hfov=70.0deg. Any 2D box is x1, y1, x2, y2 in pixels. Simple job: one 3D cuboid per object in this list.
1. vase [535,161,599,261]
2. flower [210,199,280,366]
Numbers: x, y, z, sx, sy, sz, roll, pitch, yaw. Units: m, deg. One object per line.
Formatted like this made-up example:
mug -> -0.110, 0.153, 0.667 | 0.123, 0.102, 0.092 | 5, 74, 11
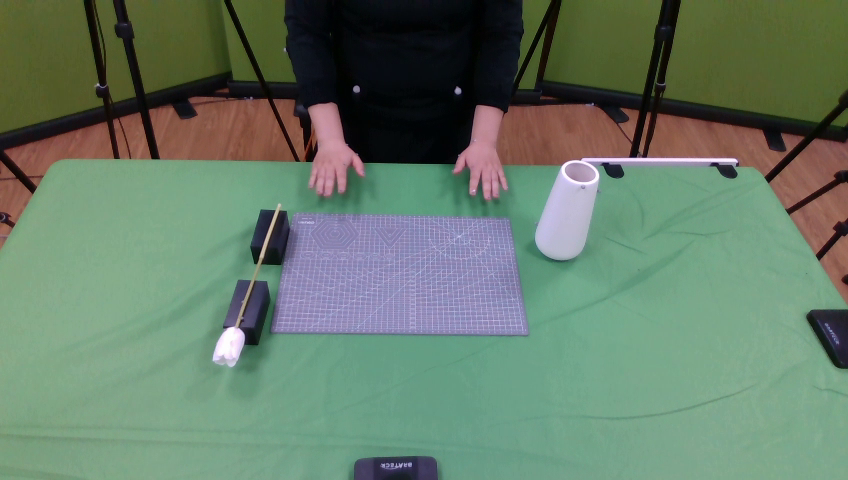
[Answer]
vase -> 0.271, -0.051, 1.145 | 0.098, 0.201, 0.097 | 1, 46, -1
flower -> -0.298, 0.056, 1.054 | 0.044, 0.038, 0.359 | -16, 44, 24
